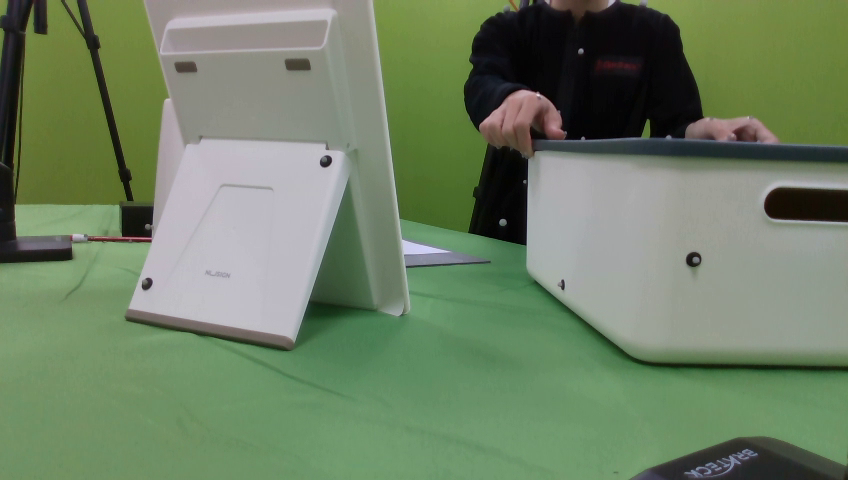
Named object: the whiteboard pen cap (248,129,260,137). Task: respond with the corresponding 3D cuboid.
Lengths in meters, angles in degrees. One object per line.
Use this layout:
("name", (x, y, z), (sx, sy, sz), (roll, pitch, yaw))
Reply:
("whiteboard pen cap", (-0.373, -0.235, 1.326), (0.018, 0.018, 0.033), (-3, 12, -35))

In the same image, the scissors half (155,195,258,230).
("scissors half", (-0.378, -0.051, 1.058), (0.176, 0.040, 0.012), (20, 21, -31))

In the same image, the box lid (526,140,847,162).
("box lid", (0.261, -0.085, 0.579), (0.264, 0.015, 0.371), (0, 9, -4))

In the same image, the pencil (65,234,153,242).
("pencil", (-0.429, -0.001, 0.911), (0.195, 0.012, 0.012), (1, 8, -19))

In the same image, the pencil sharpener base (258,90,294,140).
("pencil sharpener base", (-0.341, -0.285, 1.388), (0.062, 0.107, 0.076), (-4, 9, -36))

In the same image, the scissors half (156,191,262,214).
("scissors half", (-0.371, -0.068, 1.051), (0.176, 0.040, 0.013), (2, 25, -24))

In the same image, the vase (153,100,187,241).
("vase", (-0.278, -0.066, 0.736), (0.098, 0.200, 0.098), (2, 9, 0))

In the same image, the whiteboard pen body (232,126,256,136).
("whiteboard pen body", (-0.407, -0.247, 1.372), (0.017, 0.017, 0.140), (-3, 13, -35))

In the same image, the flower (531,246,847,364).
("flower", (0.250, 0.063, 0.602), (0.359, 0.038, 0.044), (20, -13, 49))

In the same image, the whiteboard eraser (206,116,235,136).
("whiteboard eraser", (-0.449, -0.251, 1.335), (0.056, 0.042, 0.112), (1, 7, -22))

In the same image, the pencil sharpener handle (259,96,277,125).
("pencil sharpener handle", (-0.374, -0.304, 1.425), (0.036, 0.067, 0.030), (13, -1, -37))

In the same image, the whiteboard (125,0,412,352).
("whiteboard", (-0.151, -0.049, 0.472), (0.216, 0.305, 0.144), (6, 27, 24))

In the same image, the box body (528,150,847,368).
("box body", (0.258, -0.005, 0.591), (0.254, 0.160, 0.363), (2, 7, -4))
